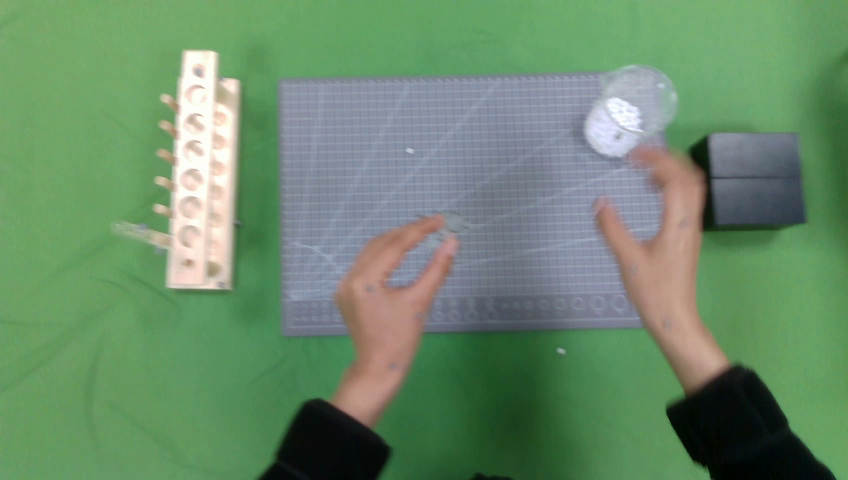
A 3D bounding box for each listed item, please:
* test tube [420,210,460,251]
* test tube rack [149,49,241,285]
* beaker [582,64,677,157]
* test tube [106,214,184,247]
[{"bbox_3d":[0.011,-0.006,0.517,0.017,0.150,0.017,1,83,-6],"label":"test tube"},{"bbox_3d":[-0.251,-0.075,0.656,0.067,0.085,0.241,2,83,0],"label":"test tube rack"},{"bbox_3d":[0.216,-0.138,0.662,0.084,0.100,0.074,36,83,5],"label":"beaker"},{"bbox_3d":[-0.274,-0.007,0.602,0.017,0.151,0.017,0,83,-1],"label":"test tube"}]
